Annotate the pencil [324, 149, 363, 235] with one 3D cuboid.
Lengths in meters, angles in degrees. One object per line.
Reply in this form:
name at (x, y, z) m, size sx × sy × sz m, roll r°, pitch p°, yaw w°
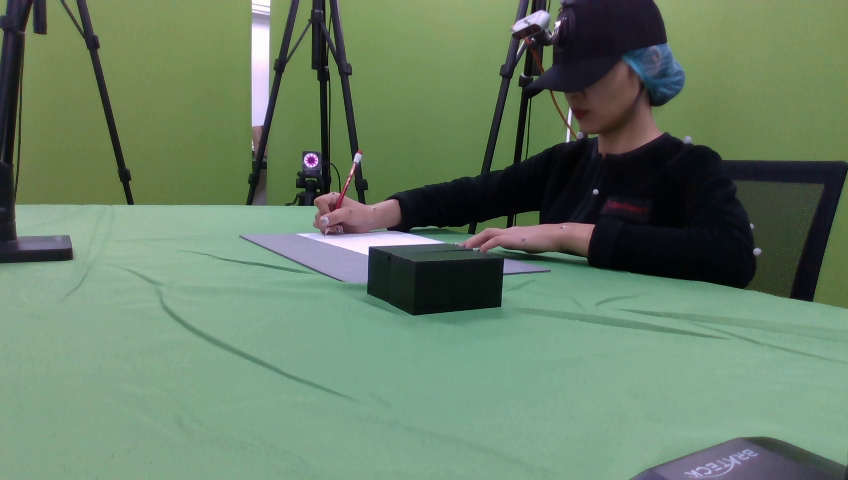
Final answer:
pencil at (-0.146, -0.089, 1.097) m, size 0.012 × 0.194 × 0.012 m, roll 14°, pitch -29°, yaw 8°
